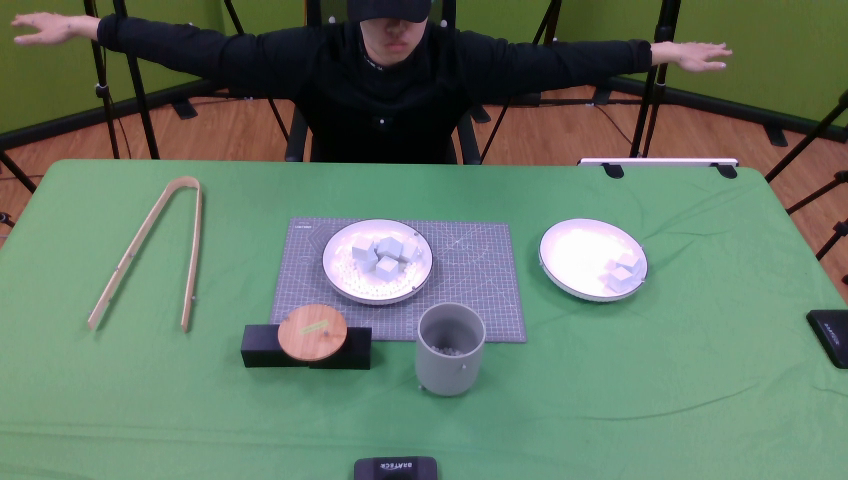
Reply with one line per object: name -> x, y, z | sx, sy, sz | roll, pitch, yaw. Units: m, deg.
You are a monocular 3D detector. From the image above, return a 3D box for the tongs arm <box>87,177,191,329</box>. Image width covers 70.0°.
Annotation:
tongs arm -> -0.523, 0.009, 1.139 | 0.051, 0.026, 0.382 | 5, 45, -2

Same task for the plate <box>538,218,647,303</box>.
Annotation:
plate -> 0.322, 0.042, 1.171 | 0.208, 0.039, 0.206 | 2, 46, -2

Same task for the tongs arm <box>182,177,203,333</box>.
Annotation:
tongs arm -> -0.442, 0.013, 1.148 | 0.028, 0.028, 0.385 | -7, 47, -9

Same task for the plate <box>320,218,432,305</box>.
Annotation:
plate -> -0.089, 0.044, 1.134 | 0.209, 0.038, 0.208 | 3, 46, -2

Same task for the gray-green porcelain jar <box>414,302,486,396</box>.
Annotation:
gray-green porcelain jar -> 0.038, 0.177, 0.958 | 0.106, 0.127, 0.105 | 2, 46, -2

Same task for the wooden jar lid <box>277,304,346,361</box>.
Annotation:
wooden jar lid -> -0.179, 0.150, 0.972 | 0.108, 0.021, 0.107 | 2, 45, -2
